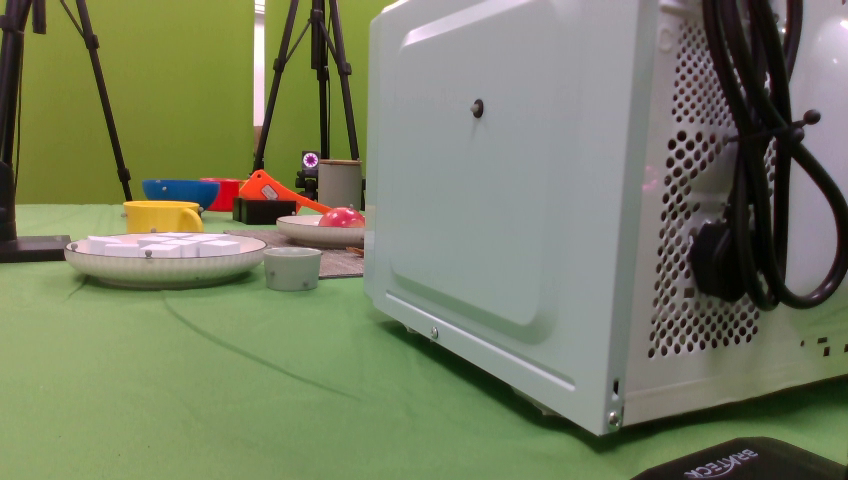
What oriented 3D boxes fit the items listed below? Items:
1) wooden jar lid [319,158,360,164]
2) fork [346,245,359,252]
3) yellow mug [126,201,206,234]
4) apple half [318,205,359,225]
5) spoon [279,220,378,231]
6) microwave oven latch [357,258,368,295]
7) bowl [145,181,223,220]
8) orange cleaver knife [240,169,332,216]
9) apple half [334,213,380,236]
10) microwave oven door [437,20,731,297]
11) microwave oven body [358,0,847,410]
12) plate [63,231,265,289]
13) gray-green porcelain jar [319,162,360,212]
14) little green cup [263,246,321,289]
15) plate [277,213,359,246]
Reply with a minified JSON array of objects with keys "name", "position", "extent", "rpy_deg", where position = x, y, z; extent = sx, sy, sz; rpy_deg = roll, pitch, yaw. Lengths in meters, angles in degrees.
[{"name":"wooden jar lid","position":[-0.203,-0.189,1.482],"extent":[0.108,0.020,0.108],"rpy_deg":[2,10,0]},{"name":"fork","position":[-0.026,0.006,0.901],"extent":[0.208,0.018,0.028],"rpy_deg":[-7,-4,-43]},{"name":"yellow mug","position":[-0.360,-0.019,0.866],"extent":[0.130,0.064,0.100],"rpy_deg":[6,9,27]},{"name":"apple half","position":[-0.126,-0.028,0.954],"extent":[0.081,0.053,0.074],"rpy_deg":[-2,11,-33]},{"name":"spoon","position":[-0.173,-0.030,1.128],"extent":[0.195,0.021,0.041],"rpy_deg":[-3,-13,-30]},{"name":"microwave oven latch","position":[-0.019,0.031,0.529],"extent":[0.079,0.029,0.030],"rpy_deg":[-1,7,-26]},{"name":"bowl","position":[-0.499,-0.081,1.261],"extent":[0.151,0.077,0.151],"rpy_deg":[2,7,0]},{"name":"orange cleaver knife","position":[-0.286,-0.082,1.298],"extent":[0.212,0.077,0.012],"rpy_deg":[25,-2,-31]},{"name":"apple half","position":[-0.112,-0.029,1.034],"extent":[0.081,0.033,0.081],"rpy_deg":[1,10,0]},{"name":"microwave oven door","position":[0.181,-0.076,0.618],"extent":[0.358,0.243,0.039],"rpy_deg":[-2,9,-28]},{"name":"microwave oven body","position":[0.210,-0.051,0.471],"extent":[0.444,0.260,0.324],"rpy_deg":[-1,7,-28]},{"name":"plate","position":[-0.288,0.021,0.687],"extent":[0.208,0.039,0.207],"rpy_deg":[2,8,0]},{"name":"gray-green porcelain jar","position":[-0.204,-0.126,1.489],"extent":[0.106,0.126,0.106],"rpy_deg":[2,7,0]},{"name":"little green cup","position":[-0.142,0.029,0.649],"extent":[0.061,0.038,0.061],"rpy_deg":[3,7,0]},{"name":"plate","position":[-0.135,-0.018,0.994],"extent":[0.209,0.038,0.209],"rpy_deg":[2,7,0]}]
